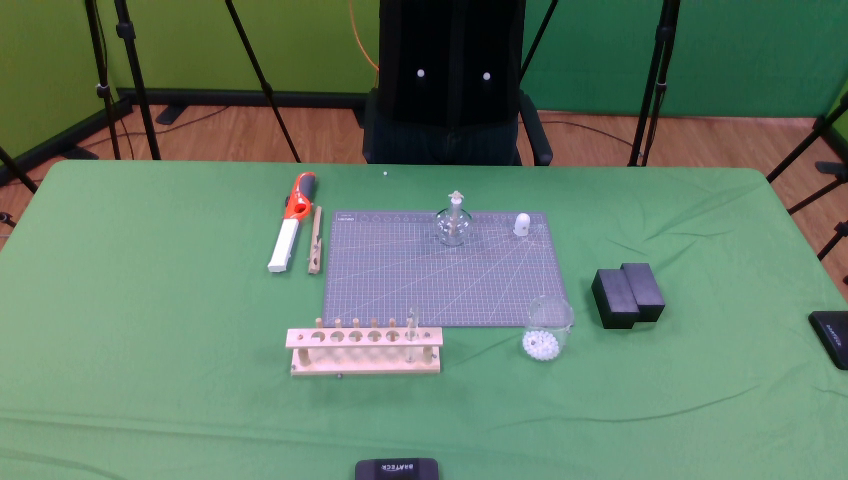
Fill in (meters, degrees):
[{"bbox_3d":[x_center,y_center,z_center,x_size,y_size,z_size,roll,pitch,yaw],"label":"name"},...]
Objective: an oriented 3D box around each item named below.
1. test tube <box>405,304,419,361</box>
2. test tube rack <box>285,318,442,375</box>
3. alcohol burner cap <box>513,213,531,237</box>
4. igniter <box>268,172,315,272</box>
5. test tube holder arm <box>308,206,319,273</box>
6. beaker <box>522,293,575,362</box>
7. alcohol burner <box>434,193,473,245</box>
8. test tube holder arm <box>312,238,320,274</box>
[{"bbox_3d":[-0.019,0.147,0.942,0.017,0.151,0.017,2,50,-2],"label":"test tube"},{"bbox_3d":[-0.095,0.168,0.986,0.242,0.085,0.066,0,46,-4],"label":"test tube rack"},{"bbox_3d":[0.200,-0.034,1.227,0.034,0.048,0.033,1,46,-1],"label":"alcohol burner cap"},{"bbox_3d":[-0.264,-0.045,1.219,0.057,0.025,0.275,-2,45,8],"label":"igniter"},{"bbox_3d":[-0.216,-0.005,1.189,0.013,0.015,0.177,24,38,-29],"label":"test tube holder arm"},{"bbox_3d":[0.203,0.151,1.014,0.084,0.101,0.073,-28,53,-26],"label":"beaker"},{"bbox_3d":[0.059,-0.047,1.180,0.078,0.120,0.077,1,48,-1],"label":"alcohol burner"},{"bbox_3d":[-0.207,0.029,1.160,0.010,0.015,0.087,25,38,-29],"label":"test tube holder arm"}]
